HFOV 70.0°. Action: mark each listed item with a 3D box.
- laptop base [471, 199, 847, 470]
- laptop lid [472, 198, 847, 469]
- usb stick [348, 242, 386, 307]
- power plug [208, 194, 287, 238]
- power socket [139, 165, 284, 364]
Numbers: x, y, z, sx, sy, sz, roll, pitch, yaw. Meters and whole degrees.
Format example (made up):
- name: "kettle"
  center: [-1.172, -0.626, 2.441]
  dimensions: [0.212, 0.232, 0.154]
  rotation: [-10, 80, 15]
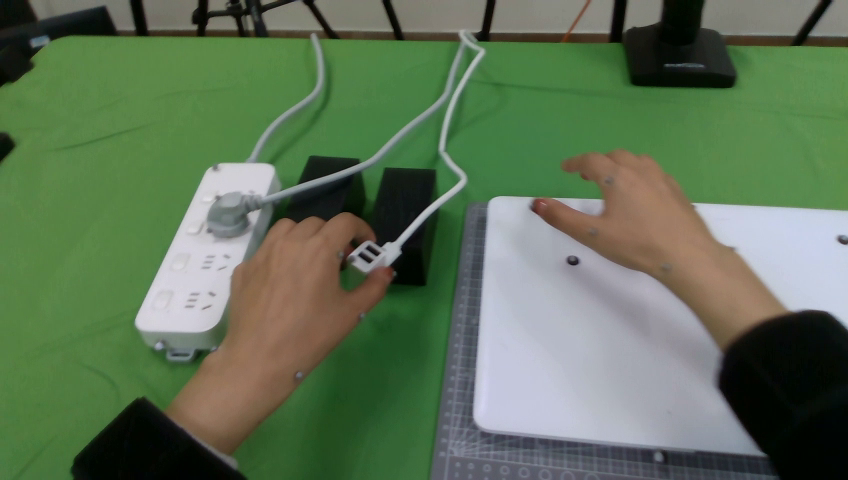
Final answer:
- name: "laptop base"
  center: [0.222, 0.063, 0.484]
  dimensions: [0.354, 0.023, 0.233]
  rotation: [3, 50, 7]
- name: "laptop lid"
  center: [0.220, 0.057, 0.474]
  dimensions: [0.356, 0.013, 0.239]
  rotation: [4, 50, 8]
- name: "usb stick"
  center: [-0.045, 0.030, 0.480]
  dimensions: [0.021, 0.059, 0.027]
  rotation: [32, 55, 17]
- name: "power plug"
  center: [-0.158, -0.014, 0.541]
  dimensions: [0.072, 0.053, 0.035]
  rotation: [10, 48, 13]
- name: "power socket"
  center: [-0.187, 0.008, 0.555]
  dimensions: [0.072, 0.033, 0.224]
  rotation: [2, 47, 4]
